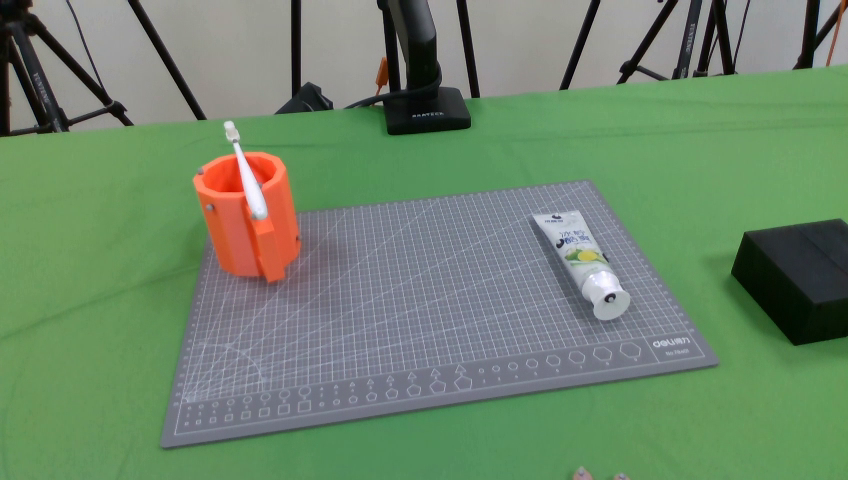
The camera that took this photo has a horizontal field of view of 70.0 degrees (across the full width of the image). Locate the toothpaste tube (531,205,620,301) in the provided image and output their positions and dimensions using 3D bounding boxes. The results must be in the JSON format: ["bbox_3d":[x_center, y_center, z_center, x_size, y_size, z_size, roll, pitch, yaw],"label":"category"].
[{"bbox_3d":[0.156,0.008,0.604,0.055,0.035,0.163,-2,34,-8],"label":"toothpaste tube"}]

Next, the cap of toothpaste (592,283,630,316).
[{"bbox_3d":[0.165,0.052,0.537,0.037,0.037,0.011,-12,39,-11],"label":"cap of toothpaste"}]

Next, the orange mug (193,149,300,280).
[{"bbox_3d":[-0.168,-0.021,0.599,0.083,0.102,0.125,-19,37,-20],"label":"orange mug"}]

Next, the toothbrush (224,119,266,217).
[{"bbox_3d":[-0.173,-0.073,0.582,0.014,0.017,0.179,-13,39,-19],"label":"toothbrush"}]
